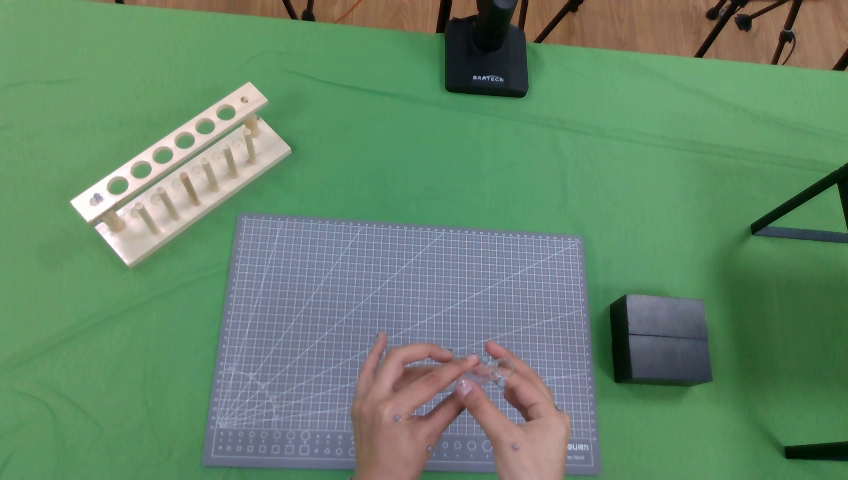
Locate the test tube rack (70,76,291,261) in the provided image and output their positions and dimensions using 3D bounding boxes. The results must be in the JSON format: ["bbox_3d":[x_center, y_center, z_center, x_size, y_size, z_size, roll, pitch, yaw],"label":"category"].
[{"bbox_3d":[-0.279,-0.087,0.725,0.242,0.085,0.066,-41,79,-19],"label":"test tube rack"}]

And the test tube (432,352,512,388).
[{"bbox_3d":[0.038,0.116,0.532,0.017,0.150,0.017,6,70,-18],"label":"test tube"}]
